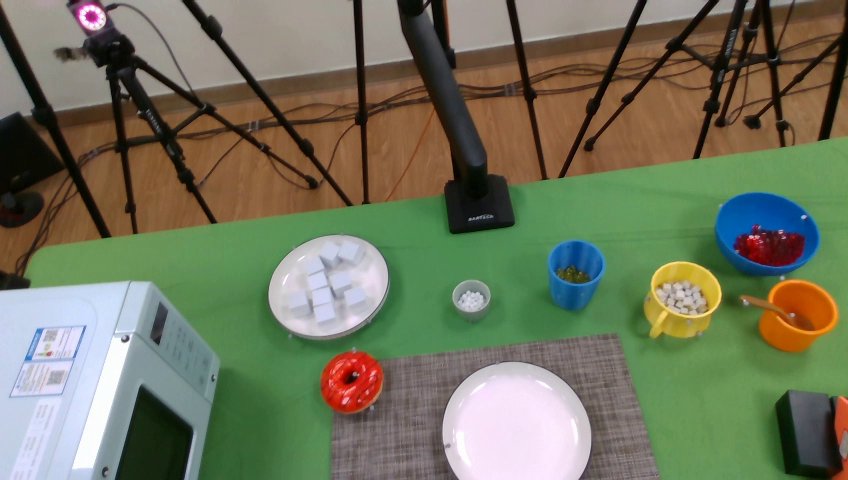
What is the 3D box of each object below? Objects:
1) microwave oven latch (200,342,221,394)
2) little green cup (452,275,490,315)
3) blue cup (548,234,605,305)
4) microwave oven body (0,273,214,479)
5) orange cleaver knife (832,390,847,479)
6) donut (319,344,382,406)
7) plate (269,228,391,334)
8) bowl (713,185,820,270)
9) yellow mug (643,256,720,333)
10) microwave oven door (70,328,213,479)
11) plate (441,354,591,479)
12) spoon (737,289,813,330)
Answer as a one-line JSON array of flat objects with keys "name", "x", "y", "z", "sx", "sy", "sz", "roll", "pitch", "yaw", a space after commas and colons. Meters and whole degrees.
[{"name": "microwave oven latch", "x": -0.338, "y": 0.199, "z": 0.943, "sx": 0.030, "sy": 0.030, "sz": 0.078, "roll": -2, "pitch": 55, "yaw": 6}, {"name": "little green cup", "x": 0.078, "y": 0.092, "z": 0.986, "sx": 0.061, "sy": 0.039, "sz": 0.061, "roll": -4, "pitch": 53, "yaw": 6}, {"name": "blue cup", "x": 0.235, "y": 0.053, "z": 0.953, "sx": 0.092, "sy": 0.101, "sz": 0.092, "roll": -3, "pitch": 56, "yaw": 5}, {"name": "microwave oven body", "x": -0.494, "y": 0.298, "z": 0.774, "sx": 0.326, "sy": 0.263, "sz": 0.437, "roll": -4, "pitch": 55, "yaw": 4}, {"name": "orange cleaver knife", "x": 0.523, "y": 0.295, "z": 0.752, "sx": 0.012, "sy": 0.077, "sz": 0.211, "roll": 4, "pitch": 85, "yaw": 15}, {"name": "donut", "x": -0.111, "y": 0.205, "z": 0.922, "sx": 0.099, "sy": 0.049, "sz": 0.098, "roll": -4, "pitch": 55, "yaw": 7}, {"name": "plate", "x": -0.157, "y": 0.071, "z": 1.033, "sx": 0.207, "sy": 0.039, "sz": 0.205, "roll": -4, "pitch": 54, "yaw": 5}, {"name": "bowl", "x": 0.534, "y": -0.005, "z": 0.968, "sx": 0.151, "sy": 0.077, "sz": 0.150, "roll": -4, "pitch": 55, "yaw": 6}, {"name": "yellow mug", "x": 0.383, "y": 0.092, "z": 0.927, "sx": 0.099, "sy": 0.064, "sz": 0.130, "roll": 36, "pitch": 68, "yaw": 28}, {"name": "microwave oven door", "x": -0.350, "y": 0.318, "z": 0.734, "sx": 0.039, "sy": 0.246, "sz": 0.352, "roll": -5, "pitch": 54, "yaw": 5}, {"name": "plate", "x": 0.128, "y": 0.264, "z": 0.852, "sx": 0.209, "sy": 0.038, "sz": 0.207, "roll": -4, "pitch": 54, "yaw": 6}, {"name": "spoon", "x": 0.499, "y": 0.094, "z": 0.859, "sx": 0.021, "sy": 0.195, "sz": 0.041, "roll": -39, "pitch": 43, "yaw": 36}]
